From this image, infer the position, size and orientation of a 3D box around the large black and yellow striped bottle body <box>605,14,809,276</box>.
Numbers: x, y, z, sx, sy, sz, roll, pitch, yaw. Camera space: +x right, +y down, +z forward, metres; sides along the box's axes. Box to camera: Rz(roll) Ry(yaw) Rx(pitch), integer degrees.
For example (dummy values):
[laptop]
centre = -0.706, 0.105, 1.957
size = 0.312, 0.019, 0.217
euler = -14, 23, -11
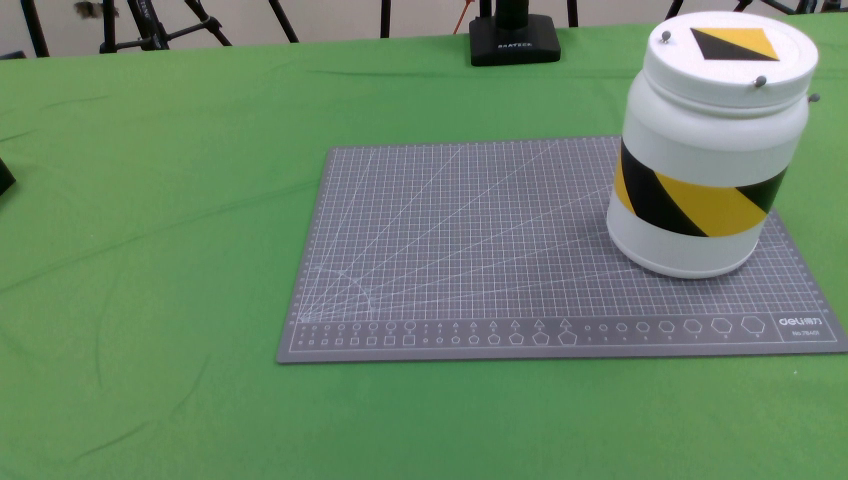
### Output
[large black and yellow striped bottle body]
centre = 0.227, -0.075, 0.498
size = 0.131, 0.186, 0.129
euler = -3, 44, 3

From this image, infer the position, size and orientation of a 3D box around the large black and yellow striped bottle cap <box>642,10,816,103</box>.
[large black and yellow striped bottle cap]
centre = 0.219, -0.136, 0.440
size = 0.115, 0.019, 0.114
euler = -2, 44, 2
